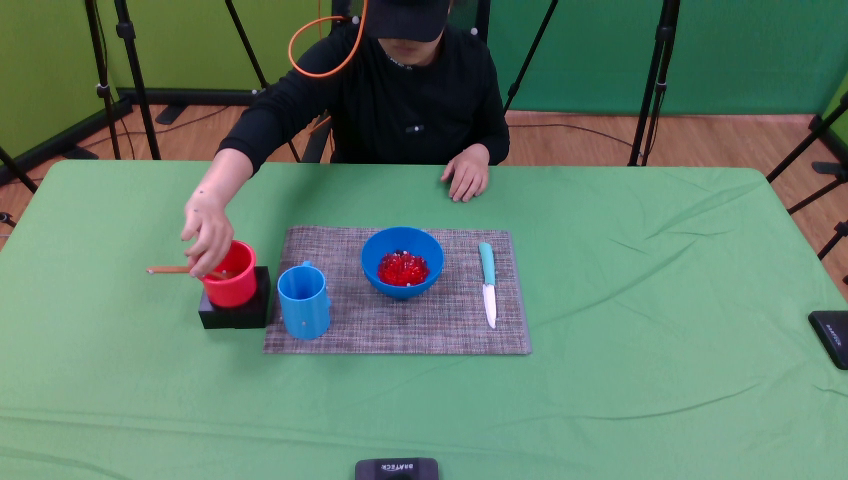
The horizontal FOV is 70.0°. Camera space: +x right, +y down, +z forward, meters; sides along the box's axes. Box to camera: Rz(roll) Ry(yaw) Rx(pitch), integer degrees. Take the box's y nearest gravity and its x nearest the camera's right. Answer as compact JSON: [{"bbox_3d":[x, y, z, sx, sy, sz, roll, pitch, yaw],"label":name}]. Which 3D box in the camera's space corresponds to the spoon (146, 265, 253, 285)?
[{"bbox_3d":[-0.353,0.052,0.968,0.041,0.021,0.194,43,13,31],"label":"spoon"}]

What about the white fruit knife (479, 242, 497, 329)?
[{"bbox_3d":[0.122,0.080,1.130,0.027,0.016,0.206,-19,45,19],"label":"white fruit knife"}]

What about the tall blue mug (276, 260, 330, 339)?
[{"bbox_3d":[-0.208,0.095,1.025,0.078,0.108,0.106,-21,51,-21],"label":"tall blue mug"}]

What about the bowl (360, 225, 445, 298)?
[{"bbox_3d":[-0.040,0.053,1.099,0.151,0.077,0.150,2,46,-2],"label":"bowl"}]
